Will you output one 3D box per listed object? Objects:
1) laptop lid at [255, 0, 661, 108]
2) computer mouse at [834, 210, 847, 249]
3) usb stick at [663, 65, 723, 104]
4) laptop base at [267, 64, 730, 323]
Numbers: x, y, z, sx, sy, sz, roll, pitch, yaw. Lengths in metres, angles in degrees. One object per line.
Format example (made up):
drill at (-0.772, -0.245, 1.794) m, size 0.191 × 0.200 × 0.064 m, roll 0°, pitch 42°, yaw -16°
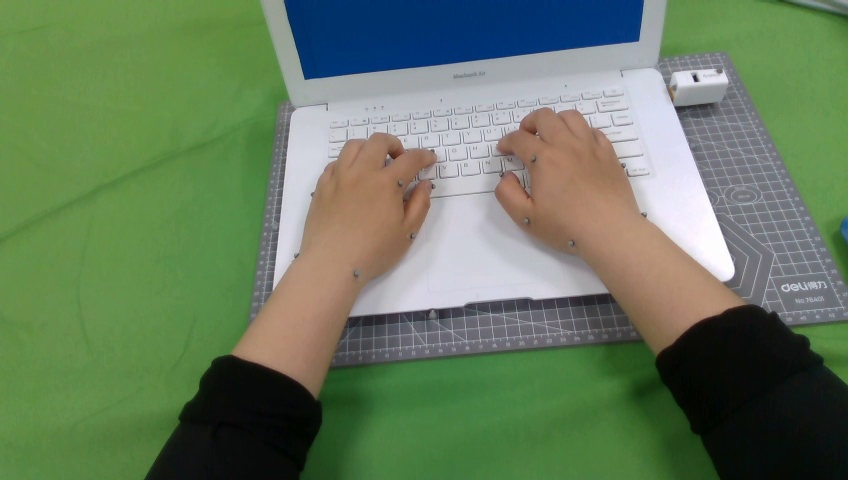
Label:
laptop lid at (0.028, -0.230, 0.509) m, size 0.356 × 0.244 × 0.013 m, roll -7°, pitch 42°, yaw 4°
computer mouse at (0.351, 0.015, 0.430) m, size 0.063 × 0.041 × 0.116 m, roll -10°, pitch 50°, yaw 4°
usb stick at (0.234, -0.139, 0.547) m, size 0.059 × 0.027 × 0.021 m, roll -6°, pitch 55°, yaw 7°
laptop base at (0.048, -0.048, 0.522) m, size 0.354 × 0.023 × 0.233 m, roll -6°, pitch 59°, yaw 3°
